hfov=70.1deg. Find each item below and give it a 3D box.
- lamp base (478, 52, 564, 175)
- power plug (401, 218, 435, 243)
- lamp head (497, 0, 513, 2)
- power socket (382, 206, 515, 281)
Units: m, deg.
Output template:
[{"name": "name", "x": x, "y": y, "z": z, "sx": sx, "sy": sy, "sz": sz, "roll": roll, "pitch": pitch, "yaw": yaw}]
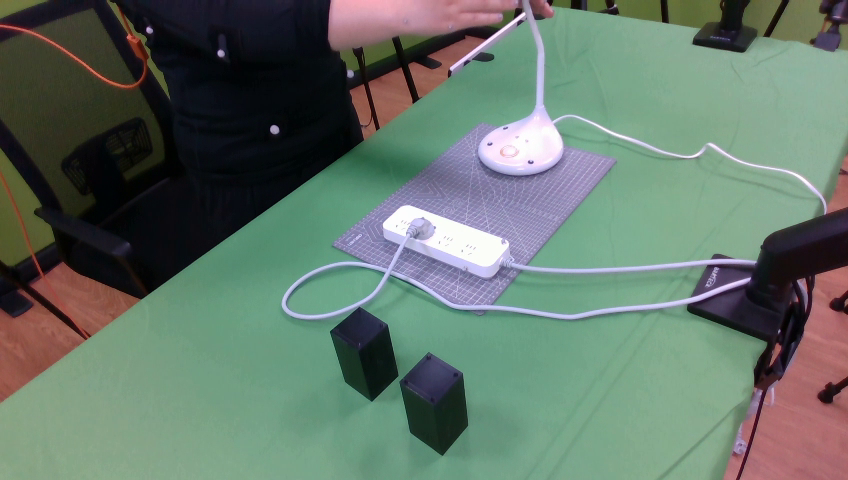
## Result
[{"name": "lamp base", "x": 0.181, "y": -0.236, "z": 1.095, "sx": 0.159, "sy": 0.181, "sz": 0.179, "roll": 20, "pitch": 44, "yaw": 29}, {"name": "power plug", "x": -0.015, "y": -0.005, "z": 0.937, "sx": 0.073, "sy": 0.053, "sz": 0.035, "roll": -37, "pitch": 46, "yaw": -27}, {"name": "lamp head", "x": 0.120, "y": -0.420, "z": 0.861, "sx": 0.111, "sy": 0.113, "sz": 0.123, "roll": 24, "pitch": 72, "yaw": 32}, {"name": "power socket", "x": 0.032, "y": 0.002, "z": 0.950, "sx": 0.225, "sy": 0.033, "sz": 0.072, "roll": 21, "pitch": 49, "yaw": 29}]
